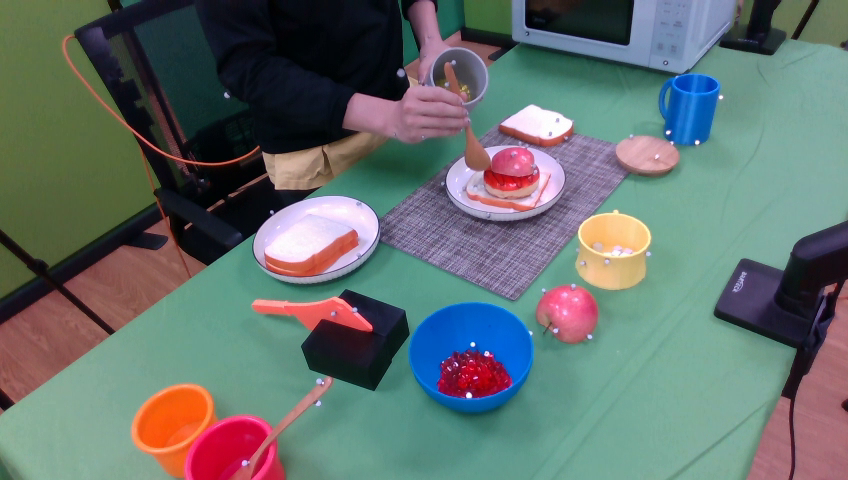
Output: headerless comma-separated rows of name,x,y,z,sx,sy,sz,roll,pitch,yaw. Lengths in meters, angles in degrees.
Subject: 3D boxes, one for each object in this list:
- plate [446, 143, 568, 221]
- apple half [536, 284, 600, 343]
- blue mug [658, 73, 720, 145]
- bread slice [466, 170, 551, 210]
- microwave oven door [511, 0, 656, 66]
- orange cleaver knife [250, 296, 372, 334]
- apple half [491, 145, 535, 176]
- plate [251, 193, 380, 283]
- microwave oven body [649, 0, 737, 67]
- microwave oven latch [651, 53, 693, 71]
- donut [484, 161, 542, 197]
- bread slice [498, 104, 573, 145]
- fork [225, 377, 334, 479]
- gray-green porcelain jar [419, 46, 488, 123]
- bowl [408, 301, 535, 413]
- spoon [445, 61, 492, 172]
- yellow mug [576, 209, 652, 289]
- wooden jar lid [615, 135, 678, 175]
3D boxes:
plate,0.142,-0.097,1.045,0.207,0.039,0.206,-4,40,4
apple half,0.196,0.091,0.815,0.075,0.053,0.080,-22,42,-20
blue mug,0.483,-0.250,1.127,0.082,0.106,0.115,-26,44,-19
bread slice,0.141,-0.093,1.042,0.133,0.018,0.107,10,43,19
microwave oven door,0.351,-0.540,1.349,0.353,0.245,0.039,24,50,31
orange cleaver knife,-0.158,0.103,0.828,0.210,0.078,0.012,-4,43,39
apple half,0.147,-0.138,0.993,0.081,0.033,0.081,1,37,0
plate,-0.174,-0.001,0.984,0.209,0.038,0.208,-4,41,4
microwave oven body,0.475,-0.602,1.411,0.438,0.261,0.327,23,50,32
microwave oven latch,0.532,-0.386,1.301,0.078,0.029,0.030,27,52,34
donut,0.149,-0.109,1.016,0.099,0.048,0.098,-4,39,4
bread slice,0.231,-0.231,1.205,0.105,0.019,0.130,-36,47,-29
fork,-0.163,0.216,0.646,0.207,0.019,0.028,-49,42,16
gray-green porcelain jar,0.049,-0.277,1.101,0.106,0.126,0.105,2,82,-11
bowl,0.059,0.156,0.739,0.151,0.077,0.150,-4,40,4
spoon,0.062,-0.179,0.906,0.041,0.195,0.021,-11,36,16
yellow mug,0.279,0.004,0.893,0.099,0.064,0.130,5,42,14
wooden jar lid,0.398,-0.151,1.086,0.108,0.021,0.108,-1,42,2
